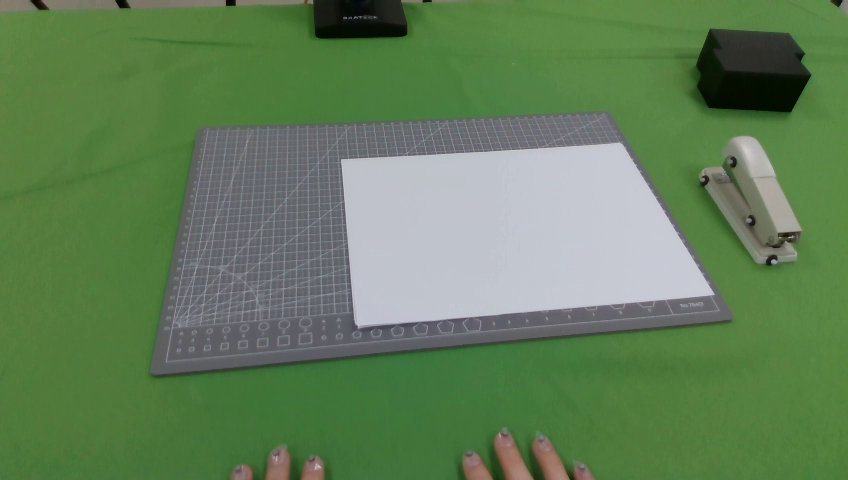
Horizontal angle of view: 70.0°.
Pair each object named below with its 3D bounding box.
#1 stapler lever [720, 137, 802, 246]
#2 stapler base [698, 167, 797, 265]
[{"bbox_3d":[0.309,-0.048,0.557,0.027,0.040,0.117,-6,49,-5],"label":"stapler lever"},{"bbox_3d":[0.307,-0.032,0.576,0.041,0.024,0.129,-6,48,-6],"label":"stapler base"}]
